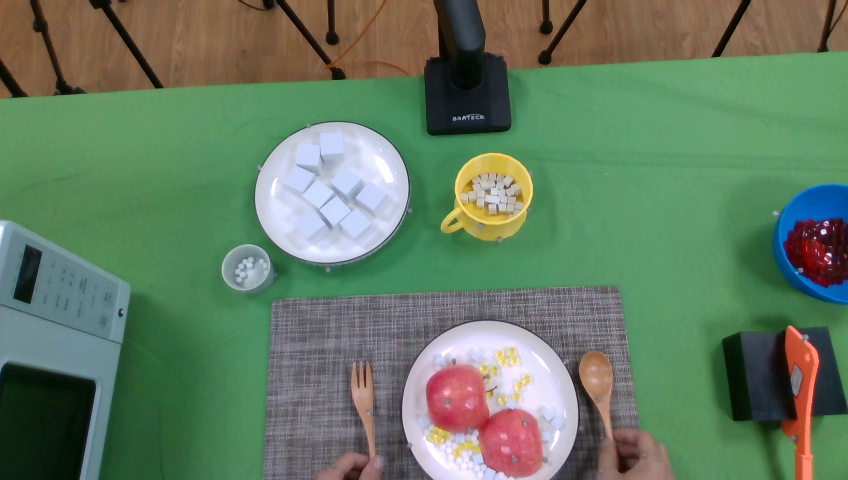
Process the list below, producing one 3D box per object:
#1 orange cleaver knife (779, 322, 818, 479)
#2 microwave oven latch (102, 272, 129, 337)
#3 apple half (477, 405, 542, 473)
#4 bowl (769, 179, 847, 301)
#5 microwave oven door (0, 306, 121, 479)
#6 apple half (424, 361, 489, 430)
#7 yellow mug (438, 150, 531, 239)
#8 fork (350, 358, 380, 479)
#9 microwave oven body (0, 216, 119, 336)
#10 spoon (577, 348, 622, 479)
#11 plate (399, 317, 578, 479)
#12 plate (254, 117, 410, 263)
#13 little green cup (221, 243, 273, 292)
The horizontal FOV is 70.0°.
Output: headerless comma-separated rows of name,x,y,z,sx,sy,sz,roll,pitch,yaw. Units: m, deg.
orange cleaver knife,0.421,0.201,0.686,0.012,0.077,0.211,-2,95,6
microwave oven latch,-0.392,0.081,0.759,0.030,0.029,0.078,2,73,2
apple half,0.100,0.231,0.701,0.081,0.033,0.080,-1,69,3
bowl,0.493,0.009,0.748,0.151,0.077,0.150,-1,72,2
microwave oven door,-0.404,0.257,0.596,0.039,0.245,0.353,0,72,3
apple half,0.037,0.181,0.710,0.074,0.054,0.080,-5,73,3
yellow mug,0.074,-0.050,0.789,0.131,0.064,0.099,-33,73,-8
fork,-0.064,0.240,0.709,0.028,0.018,0.205,8,58,-35
microwave oven body,-0.549,0.217,0.619,0.326,0.261,0.439,1,73,2
spoon,0.213,0.223,0.708,0.042,0.022,0.192,-2,66,-7
plate,0.075,0.196,0.720,0.209,0.038,0.208,0,73,2
plate,-0.121,-0.066,0.817,0.207,0.039,0.206,-1,72,2
little green cup,-0.227,0.038,0.786,0.061,0.039,0.061,-1,73,2
